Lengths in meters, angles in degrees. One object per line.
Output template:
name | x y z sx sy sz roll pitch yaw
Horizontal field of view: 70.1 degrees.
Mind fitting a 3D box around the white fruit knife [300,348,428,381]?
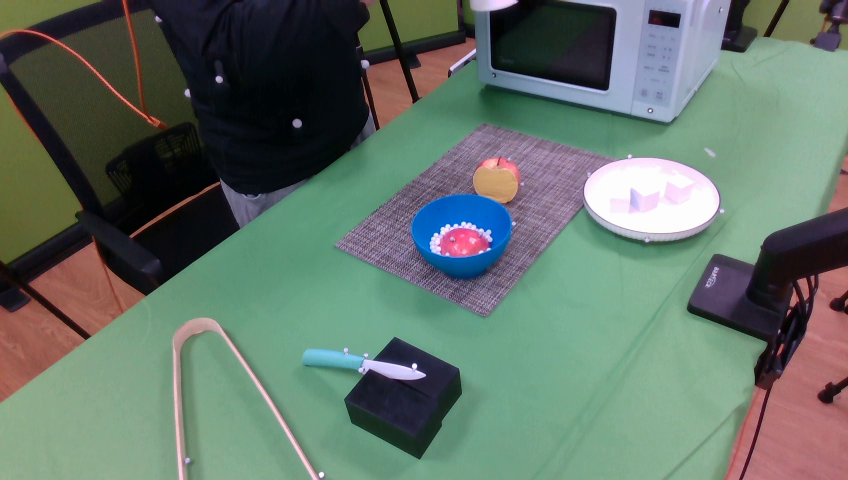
white fruit knife | -0.080 0.154 0.748 0.206 0.027 0.016 0 20 34

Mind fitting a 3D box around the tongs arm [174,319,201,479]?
tongs arm | -0.272 0.234 0.723 0.051 0.026 0.381 -18 40 -15

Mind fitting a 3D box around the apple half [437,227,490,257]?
apple half | 0.056 0.002 0.902 0.081 0.033 0.081 -3 42 3

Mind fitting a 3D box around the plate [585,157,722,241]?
plate | 0.367 -0.063 0.979 0.207 0.039 0.206 -4 41 4

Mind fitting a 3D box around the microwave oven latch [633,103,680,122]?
microwave oven latch | 0.443 -0.249 1.157 0.078 0.029 0.030 19 48 29

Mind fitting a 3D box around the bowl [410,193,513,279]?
bowl | 0.058 0.005 0.905 0.151 0.077 0.150 -4 40 4

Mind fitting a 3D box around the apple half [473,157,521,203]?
apple half | 0.128 -0.107 1.030 0.080 0.075 0.053 4 38 19

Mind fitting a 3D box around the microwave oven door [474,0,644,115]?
microwave oven door | 0.257 -0.396 1.199 0.353 0.245 0.039 21 48 29

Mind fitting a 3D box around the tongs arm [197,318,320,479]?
tongs arm | -0.200 0.207 0.751 0.028 0.028 0.384 -31 45 -22

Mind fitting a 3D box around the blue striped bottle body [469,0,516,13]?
blue striped bottle body | 0.084 -0.366 0.789 0.063 0.121 0.063 -8 31 5

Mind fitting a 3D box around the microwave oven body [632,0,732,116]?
microwave oven body | 0.377 -0.462 1.267 0.438 0.261 0.327 21 48 30
